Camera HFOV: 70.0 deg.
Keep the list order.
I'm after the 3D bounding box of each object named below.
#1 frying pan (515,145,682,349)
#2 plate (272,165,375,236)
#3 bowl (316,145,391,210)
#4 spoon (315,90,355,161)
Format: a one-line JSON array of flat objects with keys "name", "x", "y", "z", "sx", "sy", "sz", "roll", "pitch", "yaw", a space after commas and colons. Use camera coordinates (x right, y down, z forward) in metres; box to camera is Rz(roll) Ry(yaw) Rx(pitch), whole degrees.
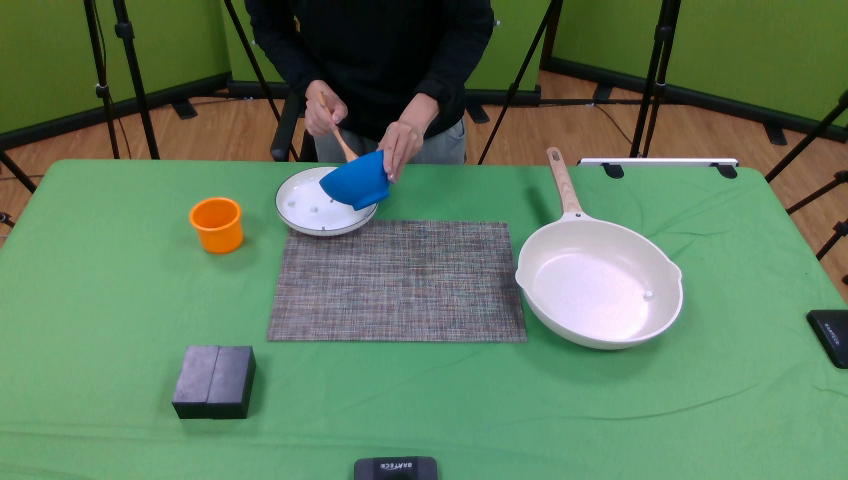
[{"name": "frying pan", "x": 0.303, "y": -0.004, "z": 1.168, "sx": 0.307, "sy": 0.103, "sz": 0.484, "roll": -2, "pitch": 55, "yaw": -7}, {"name": "plate", "x": -0.204, "y": -0.076, "z": 1.240, "sx": 0.208, "sy": 0.039, "sz": 0.206, "roll": 3, "pitch": 44, "yaw": -2}, {"name": "bowl", "x": -0.118, "y": -0.108, "z": 1.140, "sx": 0.151, "sy": 0.151, "sz": 0.077, "roll": -30, "pitch": 93, "yaw": -29}, {"name": "spoon", "x": -0.166, "y": -0.200, "z": 1.169, "sx": 0.041, "sy": 0.021, "sz": 0.193, "roll": -30, "pitch": 93, "yaw": -41}]
